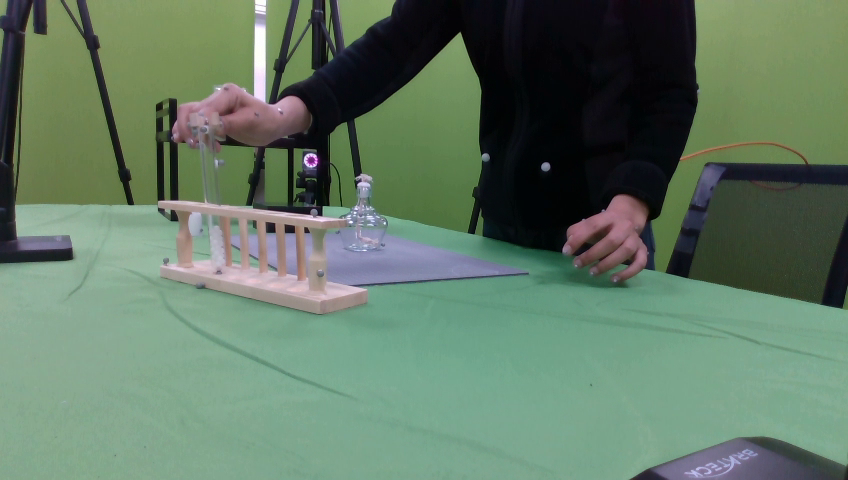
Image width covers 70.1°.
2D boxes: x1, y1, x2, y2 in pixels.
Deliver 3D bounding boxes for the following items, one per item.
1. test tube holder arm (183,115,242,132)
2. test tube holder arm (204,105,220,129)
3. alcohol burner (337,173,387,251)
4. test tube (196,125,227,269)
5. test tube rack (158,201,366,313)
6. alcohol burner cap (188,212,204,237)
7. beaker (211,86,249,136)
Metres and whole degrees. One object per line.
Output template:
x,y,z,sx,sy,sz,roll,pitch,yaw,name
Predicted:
-0.236,-0.131,0.687,0.013,0.015,0.178,-24,9,1,test tube holder arm
-0.225,-0.129,0.644,0.010,0.015,0.087,-27,10,-14,test tube holder arm
-0.095,-0.043,0.926,0.078,0.119,0.078,3,6,0,alcohol burner
-0.221,-0.043,0.630,0.017,0.150,0.017,-3,8,1,test tube
-0.173,0.009,0.624,0.241,0.085,0.067,7,9,34,test tube rack
-0.390,-0.029,1.025,0.034,0.048,0.034,2,8,0,alcohol burner cap
-0.413,-0.274,1.297,0.074,0.100,0.083,-5,11,-44,beaker
